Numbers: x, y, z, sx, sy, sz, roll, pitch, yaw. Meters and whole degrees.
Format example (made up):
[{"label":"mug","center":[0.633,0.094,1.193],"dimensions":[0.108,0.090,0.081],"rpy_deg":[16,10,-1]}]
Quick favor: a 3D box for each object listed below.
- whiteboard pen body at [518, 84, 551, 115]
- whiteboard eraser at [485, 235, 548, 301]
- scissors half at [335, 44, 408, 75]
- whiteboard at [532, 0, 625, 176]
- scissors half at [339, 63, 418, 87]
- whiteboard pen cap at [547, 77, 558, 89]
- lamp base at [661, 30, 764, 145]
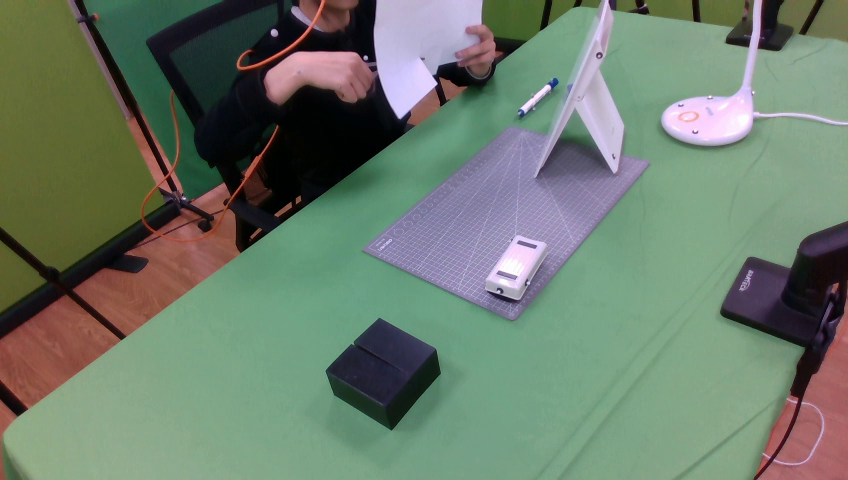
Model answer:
[{"label":"whiteboard pen body","center":[0.242,-0.306,1.290],"dimensions":[0.017,0.017,0.141],"rpy_deg":[24,52,33]},{"label":"whiteboard eraser","center":[0.137,0.042,0.887],"dimensions":[0.055,0.042,0.113],"rpy_deg":[15,45,27]},{"label":"scissors half","center":[-0.078,-0.309,1.054],"dimensions":[0.177,0.040,0.012],"rpy_deg":[3,-14,-41]},{"label":"whiteboard","center":[0.320,-0.259,1.050],"dimensions":[0.144,0.306,0.217],"rpy_deg":[21,45,5]},{"label":"scissors half","center":[-0.075,-0.289,1.053],"dimensions":[0.176,0.040,0.012],"rpy_deg":[-18,5,-42]},{"label":"whiteboard pen cap","center":[0.279,-0.341,1.321],"dimensions":[0.018,0.018,0.033],"rpy_deg":[22,51,31]},{"label":"lamp base","center":[0.535,-0.287,1.096],"dimensions":[0.179,0.181,0.159],"rpy_deg":[-10,40,-4]}]
